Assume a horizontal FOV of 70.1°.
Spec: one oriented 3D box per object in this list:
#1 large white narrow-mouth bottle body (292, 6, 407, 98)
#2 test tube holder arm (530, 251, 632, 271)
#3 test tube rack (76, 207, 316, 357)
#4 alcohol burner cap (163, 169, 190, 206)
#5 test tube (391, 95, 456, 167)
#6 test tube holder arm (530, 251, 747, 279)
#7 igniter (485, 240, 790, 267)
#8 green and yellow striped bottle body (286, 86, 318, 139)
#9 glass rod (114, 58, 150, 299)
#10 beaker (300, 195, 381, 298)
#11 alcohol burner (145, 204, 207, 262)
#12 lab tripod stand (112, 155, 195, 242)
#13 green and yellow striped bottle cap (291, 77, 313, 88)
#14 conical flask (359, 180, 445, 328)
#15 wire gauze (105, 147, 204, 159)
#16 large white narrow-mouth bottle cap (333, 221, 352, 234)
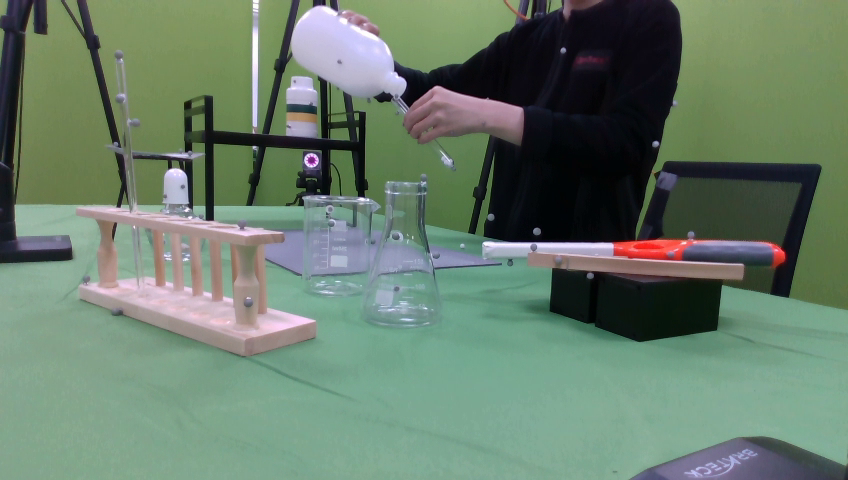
[{"bbox_3d":[-0.111,-0.290,0.976,0.194,0.101,0.102,35,17,14],"label":"large white narrow-mouth bottle body"},{"bbox_3d":[0.139,0.019,0.538,0.087,0.015,0.010,3,7,13],"label":"test tube holder arm"},{"bbox_3d":[-0.196,0.023,0.500,0.241,0.085,0.067,8,9,36],"label":"test tube rack"},{"bbox_3d":[-0.321,-0.068,0.782,0.034,0.048,0.034,1,7,0],"label":"alcohol burner cap"},{"bbox_3d":[-0.001,-0.169,0.935,0.150,0.017,0.017,51,25,14],"label":"test tube"},{"bbox_3d":[0.182,0.022,0.523,0.178,0.015,0.013,3,7,12],"label":"test tube holder arm"},{"bbox_3d":[0.197,0.012,0.585,0.276,0.025,0.057,1,5,12],"label":"igniter"},{"bbox_3d":[-0.251,-0.270,1.245,0.063,0.119,0.063,2,7,0],"label":"green and yellow striped bottle body"},{"bbox_3d":[-0.236,-0.044,0.492,0.008,0.199,0.008,1,15,0],"label":"glass rod"},{"bbox_3d":[-0.087,0.006,0.626,0.084,0.100,0.074,1,8,-17],"label":"beaker"},{"bbox_3d":[-0.322,-0.032,0.788,0.078,0.119,0.078,0,7,0],"label":"alcohol burner"},{"bbox_3d":[-0.405,-0.064,0.931,0.148,0.131,0.148,1,6,0],"label":"lab tripod stand"},{"bbox_3d":[-0.250,-0.321,1.238,0.045,0.020,0.045,3,6,0],"label":"green and yellow striped bottle cap"},{"bbox_3d":[-0.017,0.010,0.522,0.075,0.122,0.075,2,7,0],"label":"conical flask"},{"bbox_3d":[-0.407,-0.131,0.928,0.125,0.011,0.121,2,6,-11],"label":"wire gauze"},{"bbox_3d":[-0.152,-0.024,1.134,0.038,0.024,0.037,4,7,0],"label":"large white narrow-mouth bottle cap"}]
